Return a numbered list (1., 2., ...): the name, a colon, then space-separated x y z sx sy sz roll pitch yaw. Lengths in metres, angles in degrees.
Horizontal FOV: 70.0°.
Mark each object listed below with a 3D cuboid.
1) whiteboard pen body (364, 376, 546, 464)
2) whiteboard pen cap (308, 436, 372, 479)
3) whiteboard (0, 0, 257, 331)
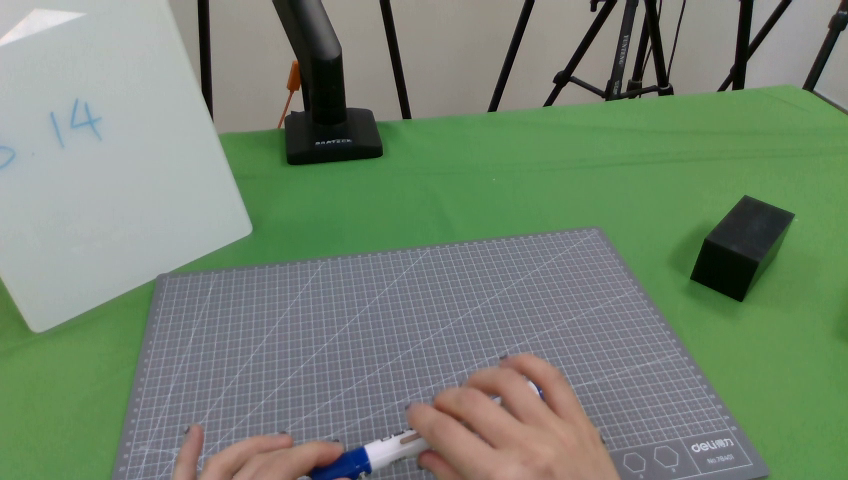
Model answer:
1. whiteboard pen body: 0.009 0.107 0.352 0.141 0.017 0.017 -16 41 -18
2. whiteboard pen cap: -0.046 0.121 0.333 0.033 0.018 0.018 -16 41 -16
3. whiteboard: -0.331 -0.114 0.566 0.217 0.308 0.142 -31 29 -33
